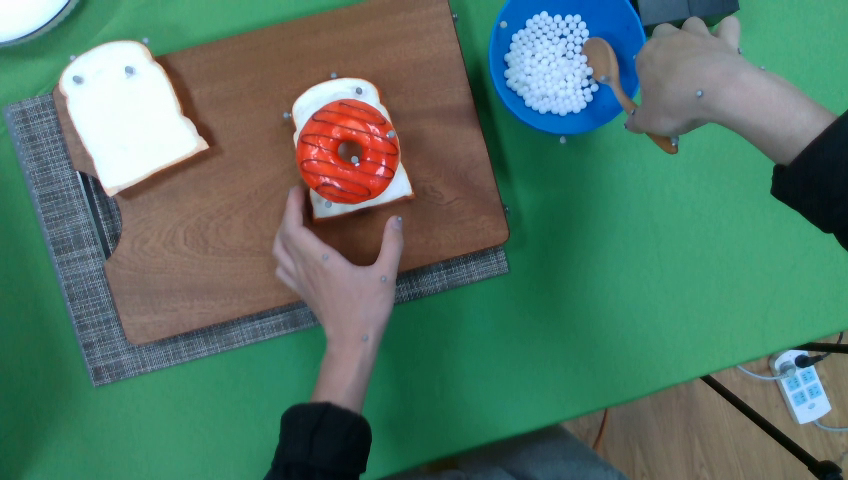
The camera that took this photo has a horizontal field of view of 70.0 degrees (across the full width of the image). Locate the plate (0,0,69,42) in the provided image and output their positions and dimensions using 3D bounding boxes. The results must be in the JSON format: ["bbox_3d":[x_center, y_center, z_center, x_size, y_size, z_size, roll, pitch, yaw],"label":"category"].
[{"bbox_3d":[-0.430,-0.294,0.588,0.208,0.039,0.207,0,93,-3],"label":"plate"}]

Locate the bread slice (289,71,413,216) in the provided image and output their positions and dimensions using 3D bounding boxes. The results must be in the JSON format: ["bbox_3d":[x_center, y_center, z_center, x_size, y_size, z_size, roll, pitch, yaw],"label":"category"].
[{"bbox_3d":[-0.079,-0.098,0.597,0.105,0.019,0.131,-16,95,-3],"label":"bread slice"}]

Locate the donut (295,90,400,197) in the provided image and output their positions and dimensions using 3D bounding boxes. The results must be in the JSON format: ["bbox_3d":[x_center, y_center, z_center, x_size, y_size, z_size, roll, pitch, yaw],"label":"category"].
[{"bbox_3d":[-0.072,-0.089,0.568,0.099,0.048,0.099,0,94,-4],"label":"donut"}]

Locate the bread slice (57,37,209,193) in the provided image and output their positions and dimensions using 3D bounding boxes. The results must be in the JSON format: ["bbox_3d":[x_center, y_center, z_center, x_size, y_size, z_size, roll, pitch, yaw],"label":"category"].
[{"bbox_3d":[-0.288,-0.125,0.584,0.107,0.018,0.134,-30,93,-1],"label":"bread slice"}]

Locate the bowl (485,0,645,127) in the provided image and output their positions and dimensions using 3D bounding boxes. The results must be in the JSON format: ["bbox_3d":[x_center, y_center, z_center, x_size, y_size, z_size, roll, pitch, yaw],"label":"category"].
[{"bbox_3d":[0.130,-0.182,0.601,0.151,0.076,0.151,0,93,-2],"label":"bowl"}]

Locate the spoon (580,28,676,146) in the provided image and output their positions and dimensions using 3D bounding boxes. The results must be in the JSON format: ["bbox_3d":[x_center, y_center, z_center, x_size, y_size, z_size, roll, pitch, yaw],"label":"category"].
[{"bbox_3d":[0.177,-0.137,0.541,0.022,0.191,0.042,0,132,-7],"label":"spoon"}]
